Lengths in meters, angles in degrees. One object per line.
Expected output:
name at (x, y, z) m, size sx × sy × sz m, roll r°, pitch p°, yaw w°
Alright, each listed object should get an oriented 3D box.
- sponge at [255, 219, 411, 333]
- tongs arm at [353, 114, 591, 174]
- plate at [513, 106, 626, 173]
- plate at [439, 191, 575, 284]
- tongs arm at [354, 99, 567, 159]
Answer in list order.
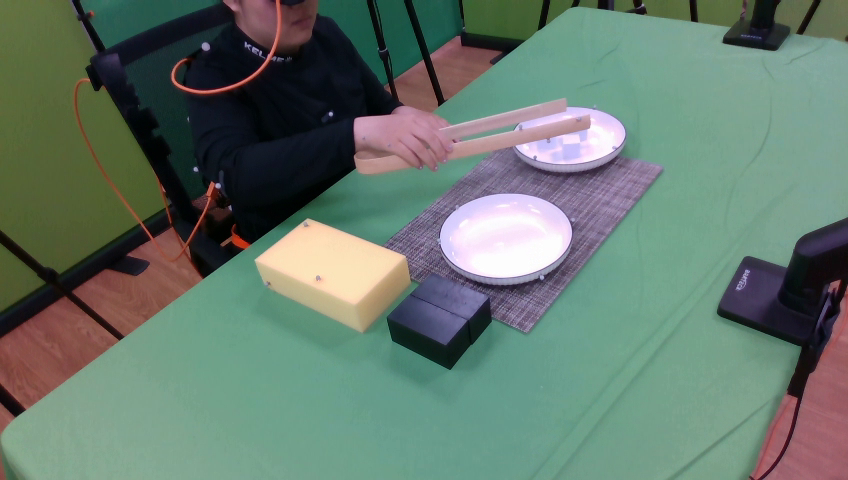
sponge at (-0.139, 0.048, 0.922) m, size 0.205 × 0.061 × 0.118 m, roll 19°, pitch 47°, yaw 30°
tongs arm at (0.079, -0.158, 0.975) m, size 0.386 × 0.026 × 0.050 m, roll -14°, pitch 31°, yaw -7°
plate at (0.269, -0.185, 1.132) m, size 0.209 × 0.038 × 0.208 m, roll -5°, pitch 40°, yaw 5°
plate at (0.129, -0.002, 0.942) m, size 0.207 × 0.039 × 0.206 m, roll -5°, pitch 40°, yaw 5°
tongs arm at (0.067, -0.183, 1.022) m, size 0.389 × 0.028 × 0.028 m, roll -16°, pitch 35°, yaw -11°
